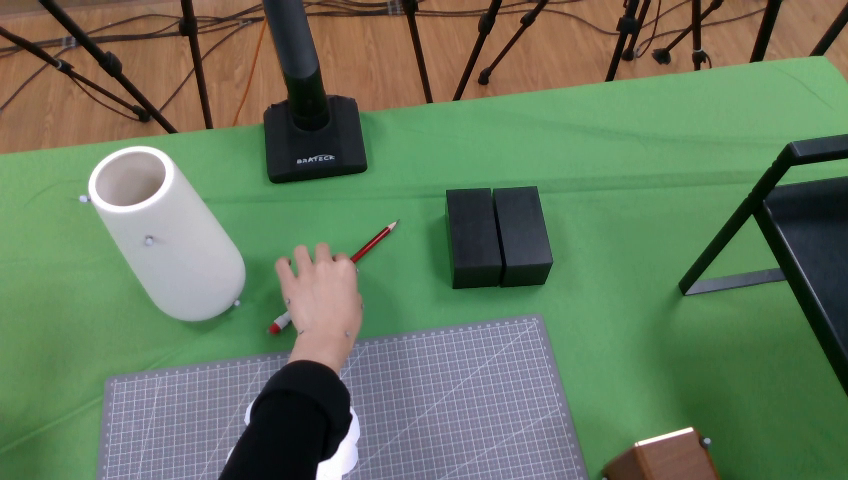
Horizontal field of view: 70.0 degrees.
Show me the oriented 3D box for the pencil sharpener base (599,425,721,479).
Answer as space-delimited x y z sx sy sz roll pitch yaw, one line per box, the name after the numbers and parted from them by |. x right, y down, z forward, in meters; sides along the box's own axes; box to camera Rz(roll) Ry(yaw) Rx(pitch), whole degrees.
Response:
0.203 0.214 0.516 0.061 0.108 0.076 -11 60 -8 | pencil sharpener base

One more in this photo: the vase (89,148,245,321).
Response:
-0.240 0.001 0.579 0.098 0.201 0.097 0 58 0 | vase

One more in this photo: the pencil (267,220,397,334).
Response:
-0.096 0.036 0.672 0.012 0.012 0.194 38 63 20 | pencil
